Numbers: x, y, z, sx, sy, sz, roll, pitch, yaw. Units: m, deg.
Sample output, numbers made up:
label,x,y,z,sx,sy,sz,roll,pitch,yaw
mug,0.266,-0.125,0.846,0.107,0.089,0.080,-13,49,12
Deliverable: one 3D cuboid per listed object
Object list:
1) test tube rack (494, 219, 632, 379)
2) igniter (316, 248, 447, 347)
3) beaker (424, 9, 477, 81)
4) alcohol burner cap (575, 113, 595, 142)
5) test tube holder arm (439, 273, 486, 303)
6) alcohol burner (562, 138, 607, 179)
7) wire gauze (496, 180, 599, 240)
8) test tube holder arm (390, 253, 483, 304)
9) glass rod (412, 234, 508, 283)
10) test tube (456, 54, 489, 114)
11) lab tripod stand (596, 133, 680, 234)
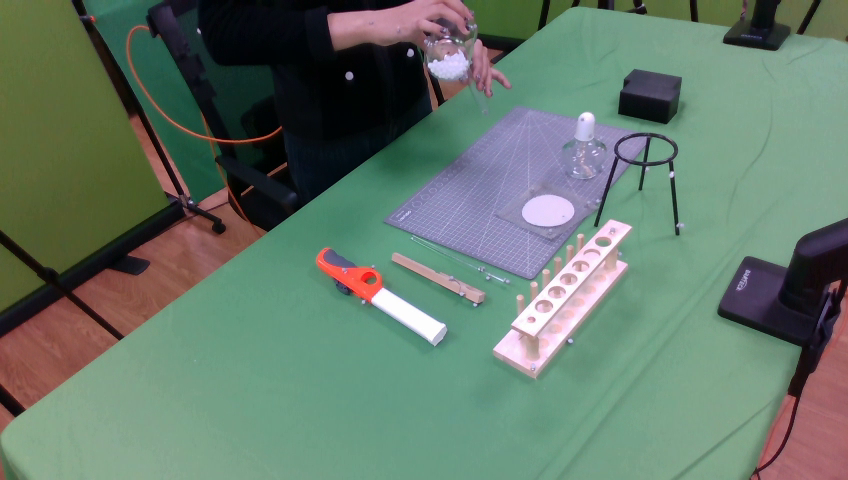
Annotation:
label,x,y,z,sx,sy,sz,roll,pitch,yaw
test tube rack,0.191,0.068,0.818,0.066,0.085,0.243,25,51,35
igniter,-0.074,0.079,0.902,0.274,0.025,0.057,29,64,36
beaker,0.041,-0.294,0.927,0.074,0.084,0.100,-5,41,16
alcohol burner cap,0.276,-0.193,1.028,0.034,0.048,0.033,-2,45,3
test tube holder arm,0.053,0.070,0.896,0.087,0.015,0.010,24,16,34
alcohol burner,0.280,-0.167,1.052,0.078,0.119,0.077,-5,38,4
wire gauze,0.206,-0.050,1.012,0.125,0.011,0.120,-34,45,-26
test tube holder arm,0.015,0.056,0.916,0.177,0.015,0.013,23,16,34
glass rod,0.051,0.027,0.951,0.198,0.008,0.008,26,52,37
test tube,0.086,-0.266,1.046,0.017,0.151,0.017,-9,62,19
lab tripod stand,0.338,-0.090,0.940,0.148,0.132,0.147,-7,39,6
